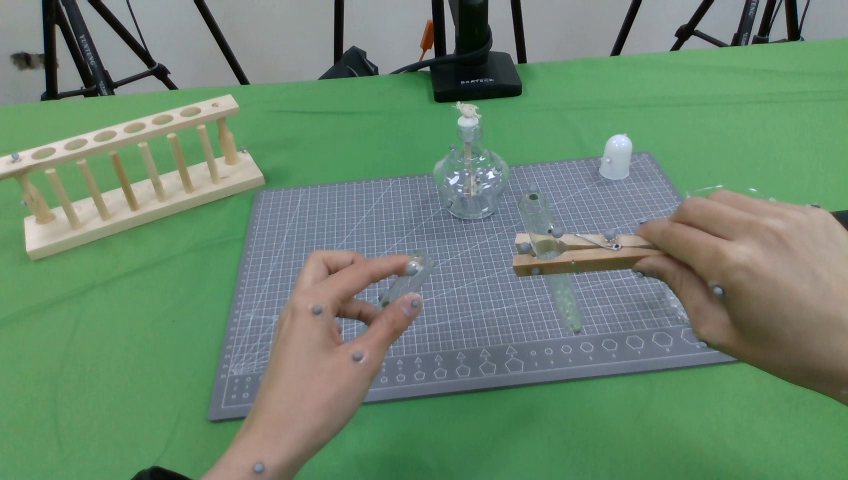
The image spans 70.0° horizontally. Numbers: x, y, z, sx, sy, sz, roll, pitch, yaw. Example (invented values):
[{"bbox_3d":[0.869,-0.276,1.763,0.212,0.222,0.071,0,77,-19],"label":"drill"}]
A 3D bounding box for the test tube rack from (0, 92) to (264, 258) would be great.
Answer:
[{"bbox_3d":[-0.305,-0.073,0.642,0.243,0.086,0.066,-22,44,-20],"label":"test tube rack"}]

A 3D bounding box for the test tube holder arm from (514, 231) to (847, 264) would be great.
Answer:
[{"bbox_3d":[0.136,0.004,0.331,0.177,0.015,0.013,1,62,26],"label":"test tube holder arm"}]

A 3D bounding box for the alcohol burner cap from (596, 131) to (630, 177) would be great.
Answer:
[{"bbox_3d":[0.206,-0.096,0.656,0.034,0.048,0.033,-2,41,2],"label":"alcohol burner cap"}]

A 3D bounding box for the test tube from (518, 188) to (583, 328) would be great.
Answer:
[{"bbox_3d":[0.081,0.018,0.375,0.017,0.152,0.017,-11,54,16],"label":"test tube"}]

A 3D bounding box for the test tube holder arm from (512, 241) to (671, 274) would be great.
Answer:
[{"bbox_3d":[0.094,0.010,0.347,0.087,0.015,0.010,-7,58,22],"label":"test tube holder arm"}]

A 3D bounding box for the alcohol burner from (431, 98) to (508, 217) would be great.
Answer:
[{"bbox_3d":[0.044,-0.084,0.600,0.078,0.120,0.077,-3,39,3],"label":"alcohol burner"}]

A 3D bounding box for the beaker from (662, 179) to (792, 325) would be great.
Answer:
[{"bbox_3d":[0.233,0.011,0.486,0.074,0.101,0.083,-26,44,-23],"label":"beaker"}]

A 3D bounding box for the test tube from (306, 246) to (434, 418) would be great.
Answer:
[{"bbox_3d":[-0.038,0.063,0.383,0.017,0.151,0.017,27,26,-14],"label":"test tube"}]
